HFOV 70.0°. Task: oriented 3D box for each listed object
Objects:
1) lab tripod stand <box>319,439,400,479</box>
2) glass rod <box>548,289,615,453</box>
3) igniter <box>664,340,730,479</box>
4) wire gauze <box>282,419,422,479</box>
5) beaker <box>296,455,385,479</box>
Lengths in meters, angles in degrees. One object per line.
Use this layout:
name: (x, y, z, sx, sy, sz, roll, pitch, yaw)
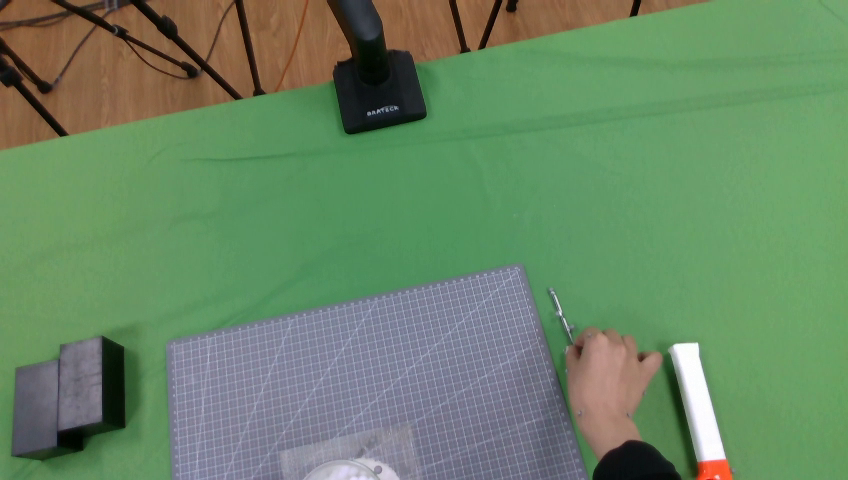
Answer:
lab tripod stand: (-0.057, 0.262, 0.596, 0.148, 0.132, 0.147, -2, 65, 5)
glass rod: (0.181, 0.147, 0.705, 0.008, 0.008, 0.198, -15, 66, -4)
igniter: (0.304, 0.243, 0.646, 0.057, 0.025, 0.274, -1, 66, -9)
wire gauze: (-0.061, 0.232, 0.538, 0.125, 0.011, 0.120, -14, 64, 0)
beaker: (-0.058, 0.221, 0.490, 0.074, 0.101, 0.083, -42, 69, -15)
